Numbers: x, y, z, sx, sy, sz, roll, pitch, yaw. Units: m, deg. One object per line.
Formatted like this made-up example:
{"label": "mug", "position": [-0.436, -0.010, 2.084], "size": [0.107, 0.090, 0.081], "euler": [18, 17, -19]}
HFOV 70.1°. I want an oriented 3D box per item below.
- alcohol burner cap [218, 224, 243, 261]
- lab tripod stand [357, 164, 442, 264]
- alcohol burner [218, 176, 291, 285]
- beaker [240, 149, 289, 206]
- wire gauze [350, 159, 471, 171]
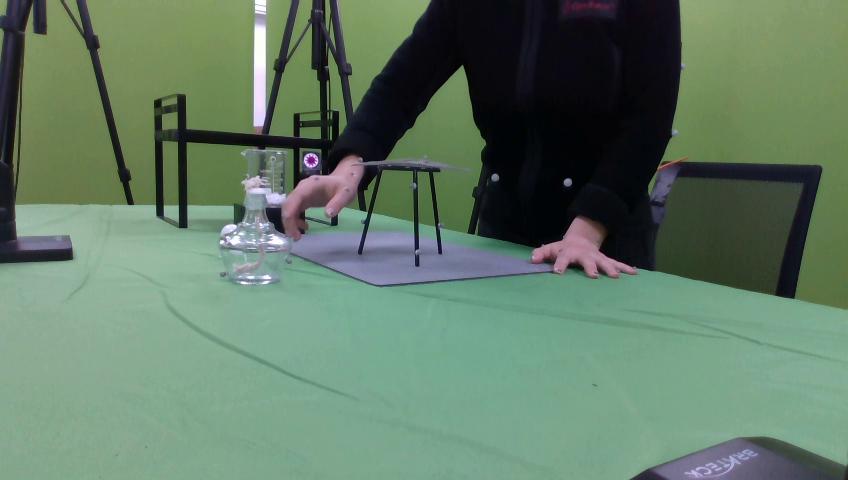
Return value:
{"label": "alcohol burner cap", "position": [-0.263, 0.002, 0.824], "size": [0.034, 0.048, 0.034], "euler": [5, 10, 0]}
{"label": "lab tripod stand", "position": [-0.023, -0.041, 0.859], "size": [0.148, 0.131, 0.148], "euler": [2, 5, 0]}
{"label": "alcohol burner", "position": [-0.187, -0.011, 0.668], "size": [0.078, 0.119, 0.078], "euler": [2, 10, 0]}
{"label": "beaker", "position": [-0.286, -0.112, 1.086], "size": [0.084, 0.100, 0.073], "euler": [-1, 9, -23]}
{"label": "wire gauze", "position": [-0.019, -0.106, 0.847], "size": [0.121, 0.011, 0.126], "euler": [8, 8, 43]}
